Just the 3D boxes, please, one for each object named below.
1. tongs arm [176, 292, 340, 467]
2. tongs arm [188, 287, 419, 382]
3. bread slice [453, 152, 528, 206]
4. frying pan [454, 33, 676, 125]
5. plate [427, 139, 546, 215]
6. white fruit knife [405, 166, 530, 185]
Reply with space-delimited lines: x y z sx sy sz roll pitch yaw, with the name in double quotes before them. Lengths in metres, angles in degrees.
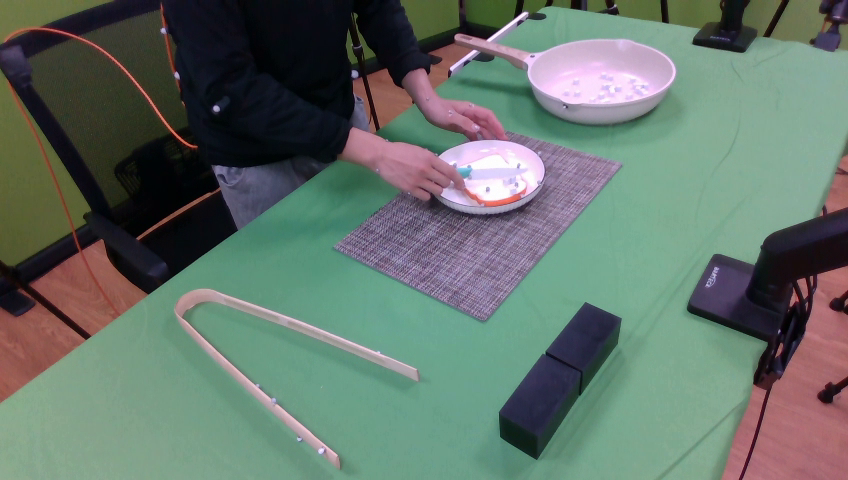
"tongs arm" -0.225 0.168 0.793 0.381 0.026 0.051 25 49 33
"tongs arm" -0.177 0.127 0.842 0.385 0.028 0.028 15 48 24
"bread slice" 0.118 -0.105 1.057 0.107 0.018 0.133 -24 42 -17
"frying pan" 0.277 -0.370 1.295 0.485 0.103 0.307 26 49 22
"plate" 0.109 -0.107 1.059 0.207 0.039 0.206 -4 40 4
"white fruit knife" 0.072 -0.110 0.995 0.208 0.027 0.016 -4 33 -3
